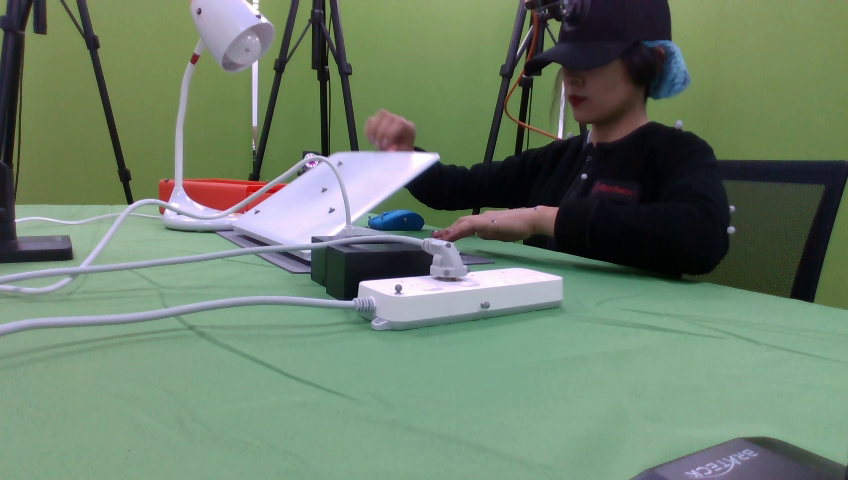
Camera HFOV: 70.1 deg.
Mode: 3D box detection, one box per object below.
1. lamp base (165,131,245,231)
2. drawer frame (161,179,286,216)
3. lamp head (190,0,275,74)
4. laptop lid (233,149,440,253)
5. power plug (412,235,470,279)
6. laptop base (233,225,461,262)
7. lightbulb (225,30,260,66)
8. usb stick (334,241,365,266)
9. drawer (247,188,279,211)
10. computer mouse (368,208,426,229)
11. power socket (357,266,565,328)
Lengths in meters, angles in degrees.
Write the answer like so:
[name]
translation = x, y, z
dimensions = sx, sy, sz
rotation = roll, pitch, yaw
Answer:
[lamp base]
translation = -0.407, -0.112, 1.119
dimensions = 0.179, 0.180, 0.161
rotation = -1, 7, 7
[drawer frame]
translation = -0.421, -0.089, 1.329
dimensions = 0.213, 0.082, 0.202
rotation = 4, 8, 16
[lamp head]
translation = -0.331, -0.355, 1.008
dimensions = 0.123, 0.112, 0.112
rotation = 43, 15, 6
[laptop lid]
translation = -0.152, -0.075, 0.926
dimensions = 0.242, 0.013, 0.355
rotation = -39, 26, -21
[power plug]
translation = 0.017, 0.023, 0.588
dimensions = 0.035, 0.052, 0.072
rotation = -1, 8, -24
[laptop base]
translation = -0.135, 0.002, 0.949
dimensions = 0.237, 0.023, 0.352
rotation = 1, 7, -33
[lightbulb]
translation = -0.318, -0.335, 1.000
dimensions = 0.107, 0.059, 0.059
rotation = 46, 14, 4
[usb stick]
translation = -0.095, 0.016, 0.747
dimensions = 0.021, 0.027, 0.059
rotation = -2, 4, -33
[drawer]
translation = -0.314, -0.079, 1.301
dimensions = 0.211, 0.073, 0.195
rotation = 4, 8, 15
[computer mouse]
translation = -0.057, -0.044, 1.267
dimensions = 0.118, 0.041, 0.062
rotation = -6, 12, -28
[power socket]
translation = 0.041, 0.049, 0.572
dimensions = 0.228, 0.032, 0.072
rotation = -3, 8, -35
